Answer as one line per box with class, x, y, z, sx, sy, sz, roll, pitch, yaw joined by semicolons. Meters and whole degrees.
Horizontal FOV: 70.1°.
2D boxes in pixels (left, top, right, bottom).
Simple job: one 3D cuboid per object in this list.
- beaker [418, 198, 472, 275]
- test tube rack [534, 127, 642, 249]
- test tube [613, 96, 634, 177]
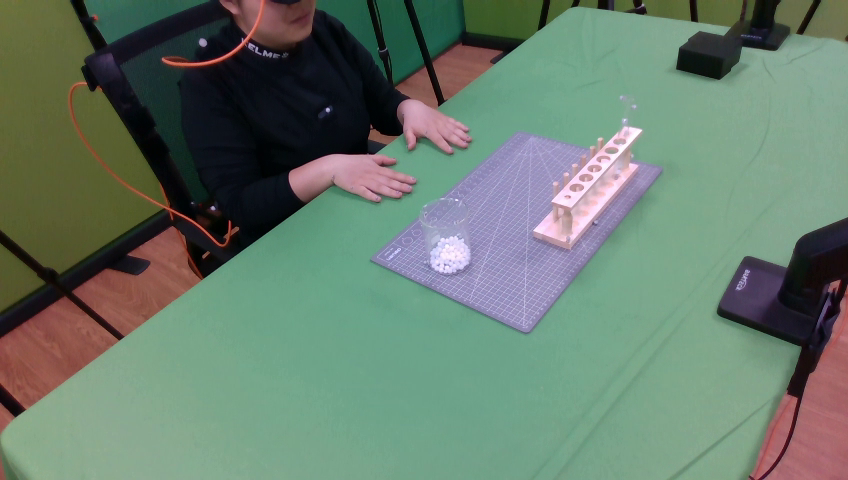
beaker;0.037;-0.004;0.916;0.073;0.101;0.084;24;49;33
test tube rack;0.271;-0.095;0.990;0.066;0.085;0.243;23;49;33
test tube;0.324;-0.166;0.987;0.017;0.151;0.017;-4;42;4
